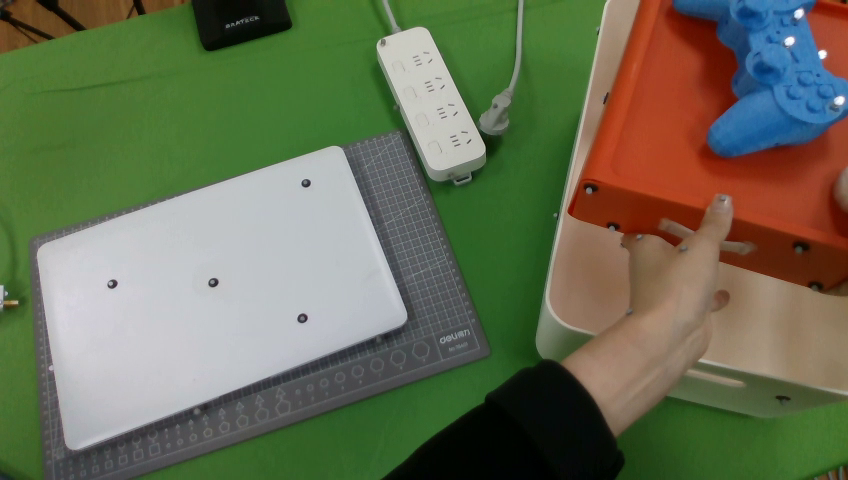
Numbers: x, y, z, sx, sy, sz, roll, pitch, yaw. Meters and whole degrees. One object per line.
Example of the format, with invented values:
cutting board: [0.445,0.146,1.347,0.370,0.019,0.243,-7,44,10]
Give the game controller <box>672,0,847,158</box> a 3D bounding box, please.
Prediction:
game controller: [0.244,-0.137,0.436,0.097,0.052,0.154,-2,69,-1]

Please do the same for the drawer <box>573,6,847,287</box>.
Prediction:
drawer: [0.241,-0.091,0.473,0.194,0.074,0.211,17,71,13]

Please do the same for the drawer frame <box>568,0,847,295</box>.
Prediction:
drawer frame: [0.241,-0.092,0.474,0.201,0.083,0.212,17,71,11]

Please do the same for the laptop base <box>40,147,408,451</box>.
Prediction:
laptop base: [-0.219,0.049,0.652,0.354,0.023,0.233,-20,70,-7]

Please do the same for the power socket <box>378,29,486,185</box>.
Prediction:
power socket: [0.007,-0.167,0.733,0.072,0.033,0.224,-19,66,-7]

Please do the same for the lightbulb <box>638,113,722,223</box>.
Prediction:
lightbulb: [0.193,-0.061,0.474,0.059,0.060,0.106,-3,50,2]

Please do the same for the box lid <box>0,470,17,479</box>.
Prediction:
box lid: [-0.403,0.355,0.525,0.370,0.015,0.262,22,69,11]

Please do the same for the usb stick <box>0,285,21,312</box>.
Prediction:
usb stick: [-0.464,0.063,0.644,0.059,0.021,0.027,6,66,-31]

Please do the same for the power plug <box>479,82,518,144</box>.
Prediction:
power plug: [0.095,-0.147,0.717,0.035,0.053,0.072,39,55,23]

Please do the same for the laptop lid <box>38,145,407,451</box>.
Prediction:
laptop lid: [-0.219,0.046,0.640,0.357,0.013,0.239,-19,68,-6]

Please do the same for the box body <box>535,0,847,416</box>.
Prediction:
box body: [0.263,-0.034,0.590,0.253,0.161,0.362,13,67,8]
